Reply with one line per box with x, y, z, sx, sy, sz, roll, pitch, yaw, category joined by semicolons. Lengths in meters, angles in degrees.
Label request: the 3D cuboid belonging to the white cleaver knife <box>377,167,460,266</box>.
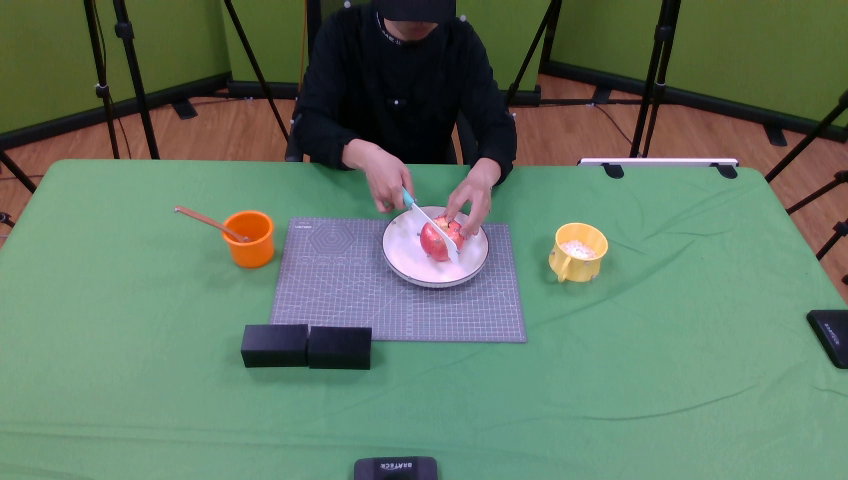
-0.017;-0.049;1.169;0.021;0.066;0.284;-26;51;-19;white cleaver knife

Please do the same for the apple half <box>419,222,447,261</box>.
0.010;0.010;1.139;0.033;0.082;0.081;-27;53;-21;apple half

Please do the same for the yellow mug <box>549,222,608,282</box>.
0.287;0.031;1.159;0.099;0.064;0.130;27;51;21;yellow mug

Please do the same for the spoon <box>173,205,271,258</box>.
-0.362;-0.017;1.098;0.021;0.195;0.041;-33;42;27;spoon

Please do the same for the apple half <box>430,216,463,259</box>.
0.045;-0.007;1.155;0.053;0.075;0.080;-19;49;-30;apple half

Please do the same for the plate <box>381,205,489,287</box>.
0.021;0.015;1.170;0.209;0.038;0.208;2;46;-2;plate
